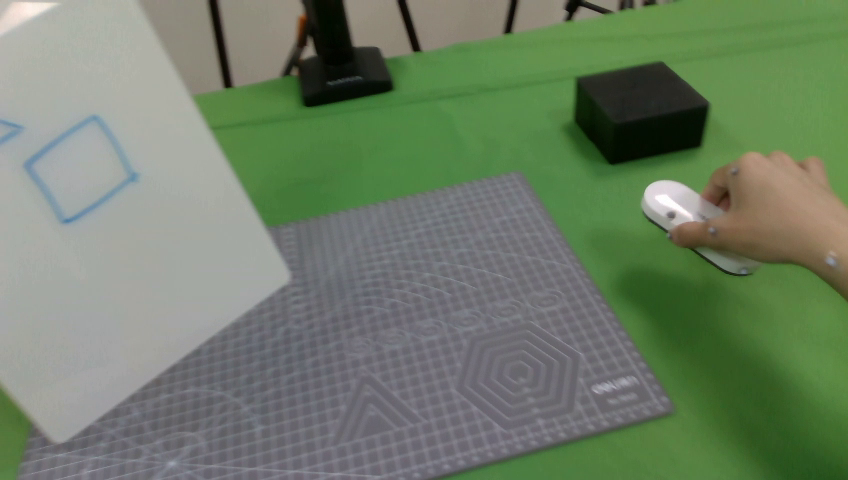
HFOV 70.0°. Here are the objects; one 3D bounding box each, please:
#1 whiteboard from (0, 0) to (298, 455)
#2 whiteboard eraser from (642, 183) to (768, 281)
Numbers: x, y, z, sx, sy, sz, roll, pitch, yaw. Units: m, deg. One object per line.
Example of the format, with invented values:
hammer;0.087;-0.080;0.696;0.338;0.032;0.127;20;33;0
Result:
whiteboard;-0.279;-0.040;0.469;0.217;0.308;0.142;-37;30;-29
whiteboard eraser;0.213;-0.009;0.465;0.041;0.019;0.100;-33;60;-25
